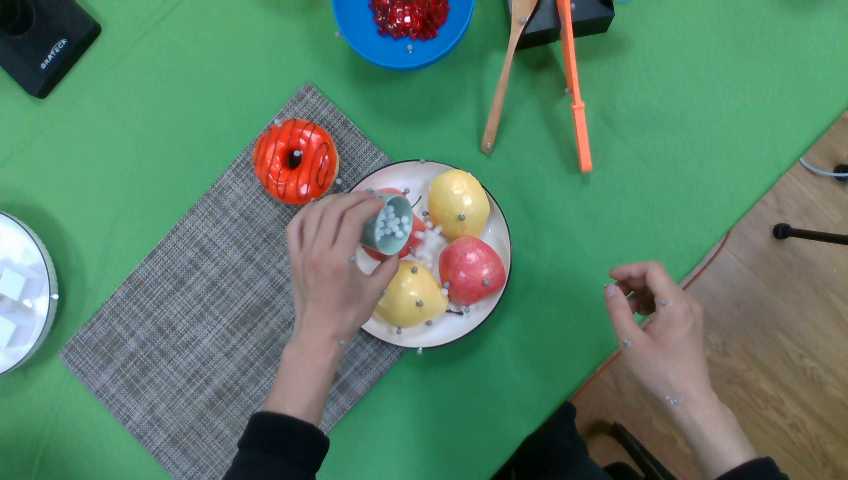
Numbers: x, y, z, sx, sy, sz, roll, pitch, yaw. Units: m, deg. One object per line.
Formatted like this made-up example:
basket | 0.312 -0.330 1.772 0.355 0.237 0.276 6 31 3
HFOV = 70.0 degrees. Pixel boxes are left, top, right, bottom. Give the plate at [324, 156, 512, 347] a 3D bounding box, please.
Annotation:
plate | -0.006 0.013 0.676 0.209 0.038 0.209 0 89 5

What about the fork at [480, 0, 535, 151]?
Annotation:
fork | 0.089 -0.195 0.647 0.028 0.018 0.208 12 111 -2

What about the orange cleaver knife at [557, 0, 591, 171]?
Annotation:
orange cleaver knife | 0.156 -0.180 0.643 0.012 0.076 0.213 -10 114 10

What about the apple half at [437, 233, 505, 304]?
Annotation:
apple half | 0.043 0.033 0.653 0.081 0.033 0.081 6 107 23

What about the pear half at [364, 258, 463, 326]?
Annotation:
pear half | -0.009 0.062 0.662 0.110 0.056 0.076 17 96 2

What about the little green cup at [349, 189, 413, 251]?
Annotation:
little green cup | -0.043 -0.021 0.601 0.038 0.062 0.061 14 90 31

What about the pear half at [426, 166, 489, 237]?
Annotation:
pear half | 0.033 -0.034 0.658 0.070 0.031 0.088 -14 100 29

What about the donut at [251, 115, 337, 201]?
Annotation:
donut | -0.148 -0.093 0.688 0.099 0.048 0.099 0 92 8

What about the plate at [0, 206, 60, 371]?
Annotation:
plate | -0.534 0.058 0.733 0.207 0.039 0.207 0 89 6

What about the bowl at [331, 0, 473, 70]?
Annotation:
bowl | -0.019 -0.253 0.664 0.151 0.077 0.151 0 90 5

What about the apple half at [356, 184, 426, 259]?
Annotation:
apple half | -0.043 -0.019 0.663 0.074 0.053 0.081 -29 90 6

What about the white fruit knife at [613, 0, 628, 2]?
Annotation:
white fruit knife | 0.137 -0.317 0.630 0.207 0.016 0.027 45 65 7
